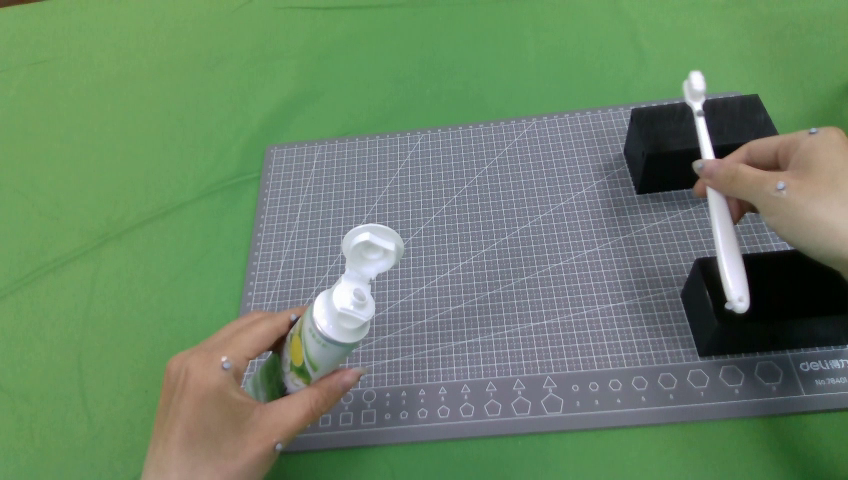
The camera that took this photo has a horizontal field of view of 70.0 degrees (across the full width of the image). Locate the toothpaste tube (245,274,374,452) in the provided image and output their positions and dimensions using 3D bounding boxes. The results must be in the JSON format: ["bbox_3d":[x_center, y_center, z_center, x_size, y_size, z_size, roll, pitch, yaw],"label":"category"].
[{"bbox_3d":[-0.078,0.074,0.375,0.035,0.165,0.054,7,49,-36],"label":"toothpaste tube"}]

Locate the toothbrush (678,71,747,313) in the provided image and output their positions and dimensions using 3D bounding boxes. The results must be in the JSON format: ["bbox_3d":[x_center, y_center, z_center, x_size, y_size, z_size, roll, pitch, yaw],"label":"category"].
[{"bbox_3d":[0.190,-0.039,0.401,0.014,0.017,0.180,0,64,3],"label":"toothbrush"}]

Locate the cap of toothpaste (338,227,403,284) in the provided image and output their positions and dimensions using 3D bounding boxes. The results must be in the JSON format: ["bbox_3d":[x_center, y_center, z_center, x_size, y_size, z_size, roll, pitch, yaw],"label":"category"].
[{"bbox_3d":[-0.030,0.009,0.333,0.037,0.038,0.011,-7,39,4],"label":"cap of toothpaste"}]
